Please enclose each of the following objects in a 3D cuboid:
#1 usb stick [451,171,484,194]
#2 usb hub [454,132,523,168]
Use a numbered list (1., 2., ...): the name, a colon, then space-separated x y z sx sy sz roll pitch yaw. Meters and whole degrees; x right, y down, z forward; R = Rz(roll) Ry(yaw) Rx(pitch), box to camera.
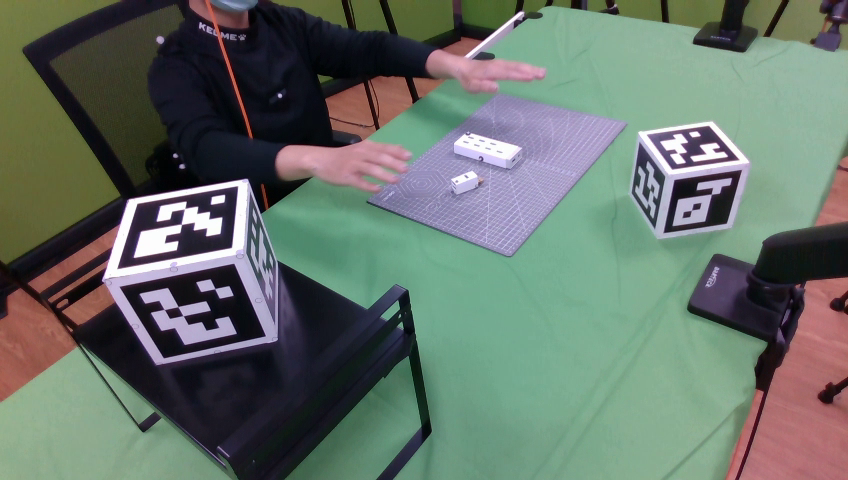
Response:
1. usb stick: 0.079 -0.104 1.072 0.059 0.027 0.021 -20 42 -18
2. usb hub: 0.121 -0.170 1.144 0.124 0.025 0.049 22 48 29
